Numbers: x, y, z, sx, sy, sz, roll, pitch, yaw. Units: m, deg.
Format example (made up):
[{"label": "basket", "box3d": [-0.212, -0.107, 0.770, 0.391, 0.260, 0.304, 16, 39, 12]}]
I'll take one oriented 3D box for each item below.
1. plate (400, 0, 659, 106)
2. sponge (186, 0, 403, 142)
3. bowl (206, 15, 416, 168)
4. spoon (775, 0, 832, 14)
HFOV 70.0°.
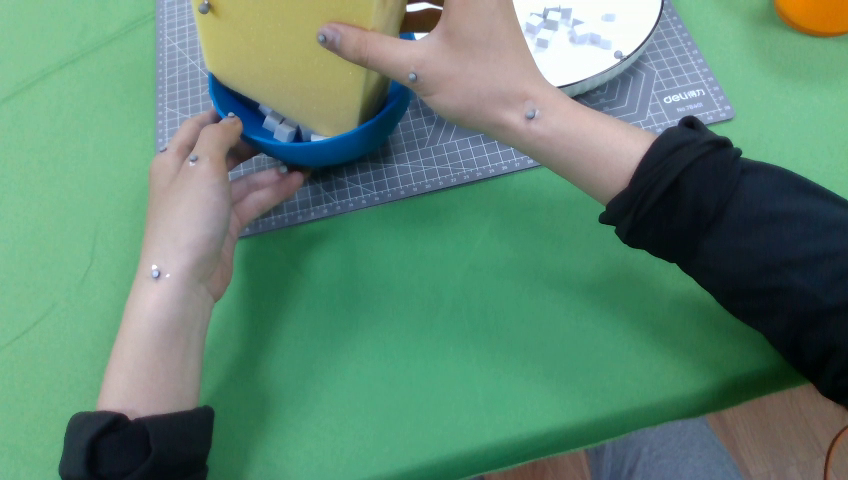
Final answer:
[{"label": "plate", "box3d": [0.084, -0.191, 0.507, 0.209, 0.038, 0.207, -3, 63, 5]}, {"label": "sponge", "box3d": [-0.075, -0.151, 0.358, 0.118, 0.208, 0.060, 25, 64, 0]}, {"label": "bowl", "box3d": [-0.076, -0.108, 0.460, 0.151, 0.077, 0.150, -3, 63, 6]}, {"label": "spoon", "box3d": [0.354, -0.239, 0.442, 0.022, 0.194, 0.041, 4, 57, -42]}]
